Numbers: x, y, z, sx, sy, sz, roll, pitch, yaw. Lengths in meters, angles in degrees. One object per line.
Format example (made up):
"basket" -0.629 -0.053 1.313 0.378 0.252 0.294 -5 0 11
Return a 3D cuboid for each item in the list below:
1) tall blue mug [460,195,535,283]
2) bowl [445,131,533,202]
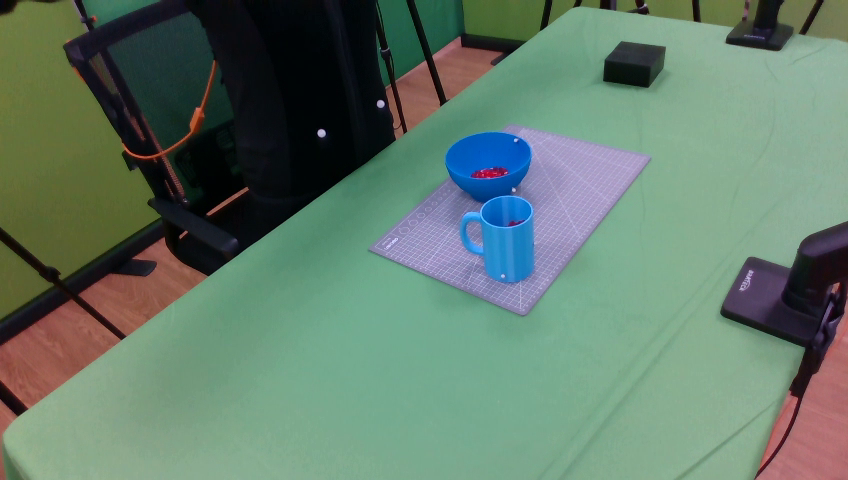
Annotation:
"tall blue mug" 0.109 0.001 0.891 0.107 0.108 0.077 -8 41 1
"bowl" 0.115 -0.119 1.056 0.151 0.077 0.150 -6 40 5
